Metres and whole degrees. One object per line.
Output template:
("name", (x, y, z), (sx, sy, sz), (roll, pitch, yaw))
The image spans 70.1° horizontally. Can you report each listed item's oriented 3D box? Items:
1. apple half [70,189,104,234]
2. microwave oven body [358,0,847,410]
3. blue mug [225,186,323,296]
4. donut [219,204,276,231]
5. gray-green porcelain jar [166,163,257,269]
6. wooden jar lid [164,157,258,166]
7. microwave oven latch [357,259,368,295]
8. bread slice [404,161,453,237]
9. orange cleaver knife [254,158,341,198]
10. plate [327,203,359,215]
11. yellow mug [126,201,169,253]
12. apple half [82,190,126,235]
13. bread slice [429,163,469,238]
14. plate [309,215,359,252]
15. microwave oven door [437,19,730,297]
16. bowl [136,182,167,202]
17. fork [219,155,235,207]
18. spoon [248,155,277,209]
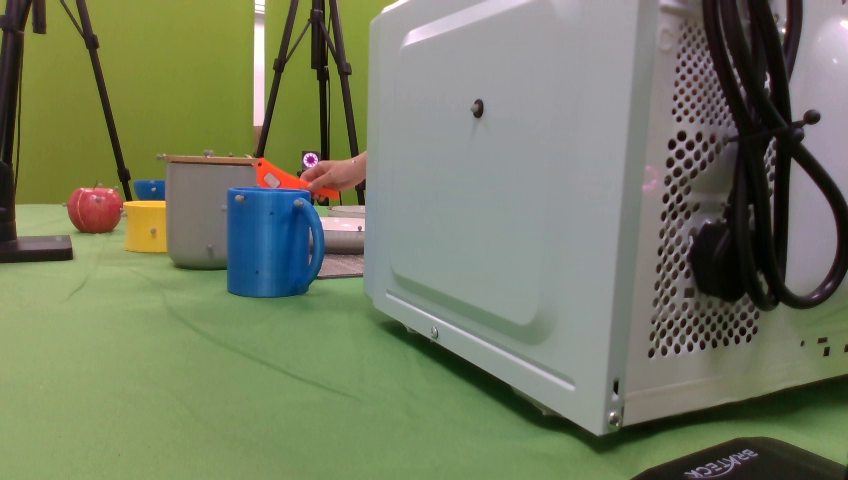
("apple half", (-0.552, -0.048, 1.010), (0.053, 0.074, 0.081), (-1, 9, 26))
("microwave oven body", (0.210, -0.051, 0.471), (0.444, 0.260, 0.324), (-1, 7, -28))
("blue mug", (-0.148, 0.000, 0.618), (0.116, 0.106, 0.083), (7, 9, 33))
("donut", (-0.316, -0.039, 1.083), (0.099, 0.048, 0.099), (2, 7, 0))
("gray-green porcelain jar", (-0.263, -0.031, 0.754), (0.106, 0.126, 0.106), (2, 7, 0))
("wooden jar lid", (-0.261, -0.093, 0.746), (0.108, 0.020, 0.108), (0, 9, 0))
("microwave oven latch", (-0.019, 0.031, 0.529), (0.079, 0.029, 0.030), (-1, 7, -26))
("bread slice", (0.009, -0.075, 1.099), (0.018, 0.134, 0.107), (-6, 0, 40))
("orange cleaver knife", (-0.280, -0.111, 1.297), (0.212, 0.077, 0.012), (18, 0, -32))
("plate", (-0.102, -0.053, 1.299), (0.209, 0.038, 0.209), (2, 8, 0))
("yellow mug", (-0.361, -0.019, 0.866), (0.130, 0.064, 0.100), (6, 9, 27))
("apple half", (-0.516, -0.046, 0.994), (0.032, 0.081, 0.081), (0, 6, 26))
("bread slice", (0.045, -0.070, 1.062), (0.019, 0.131, 0.105), (2, 6, 37))
("plate", (-0.130, -0.011, 0.945), (0.208, 0.039, 0.207), (2, 7, 0))
("microwave oven door", (0.181, -0.076, 0.618), (0.358, 0.243, 0.039), (-2, 9, -28))
("bowl", (-0.497, -0.076, 1.221), (0.151, 0.077, 0.151), (2, 8, 0))
("fork", (-0.459, -0.134, 1.415), (0.028, 0.018, 0.207), (0, -34, -24))
("spoon", (-0.417, -0.150, 1.543), (0.042, 0.193, 0.021), (-6, -34, -32))
